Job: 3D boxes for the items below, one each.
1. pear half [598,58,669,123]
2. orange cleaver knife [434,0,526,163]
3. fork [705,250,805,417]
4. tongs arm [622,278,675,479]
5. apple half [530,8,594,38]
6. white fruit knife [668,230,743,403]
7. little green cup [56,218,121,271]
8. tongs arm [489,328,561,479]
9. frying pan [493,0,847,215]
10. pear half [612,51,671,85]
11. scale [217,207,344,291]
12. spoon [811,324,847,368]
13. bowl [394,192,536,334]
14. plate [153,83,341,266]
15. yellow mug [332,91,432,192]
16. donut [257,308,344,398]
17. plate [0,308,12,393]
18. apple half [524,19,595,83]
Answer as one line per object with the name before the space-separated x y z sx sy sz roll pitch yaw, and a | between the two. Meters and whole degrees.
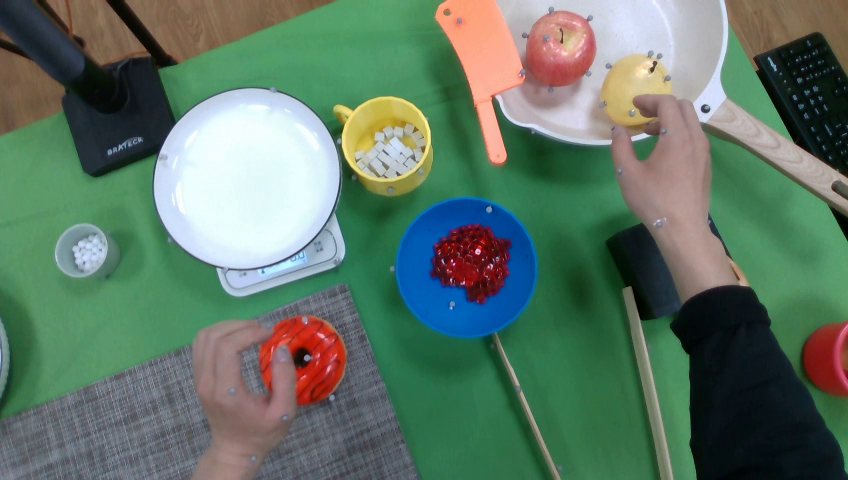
pear half | 0.235 -0.166 0.676 0.076 0.110 0.056 14 81 7
orange cleaver knife | 0.071 -0.191 0.673 0.077 0.012 0.210 -17 81 1
fork | 0.362 0.103 0.656 0.028 0.018 0.208 -31 97 -6
tongs arm | 0.249 0.233 0.653 0.028 0.028 0.386 -7 83 -5
apple half | 0.164 -0.247 0.708 0.081 0.081 0.032 19 84 5
white fruit knife | 0.302 0.085 0.653 0.016 0.027 0.207 -24 95 -2
little green cup | -0.387 0.008 0.703 0.061 0.039 0.061 0 80 2
tongs arm | 0.166 0.258 0.651 0.051 0.026 0.383 -22 83 -4
frying pan | 0.271 -0.181 0.684 0.485 0.103 0.306 41 85 15
pear half | 0.247 -0.197 0.690 0.070 0.088 0.031 12 82 8
scale | -0.188 -0.053 0.712 0.149 0.031 0.200 -17 81 -1
spoon | 0.472 0.150 0.605 0.041 0.022 0.191 -26 36 -4
bowl | 0.044 0.029 0.669 0.151 0.077 0.151 0 81 1
plate | -0.194 -0.072 0.682 0.209 0.038 0.208 0 80 1
yellow mug | -0.054 -0.121 0.702 0.130 0.064 0.100 35 84 8
donut | -0.136 0.125 0.671 0.099 0.048 0.098 -1 82 4
plate | -0.567 0.136 0.687 0.207 0.039 0.207 0 80 1
apple half | 0.152 -0.212 0.703 0.081 0.075 0.053 19 85 2
